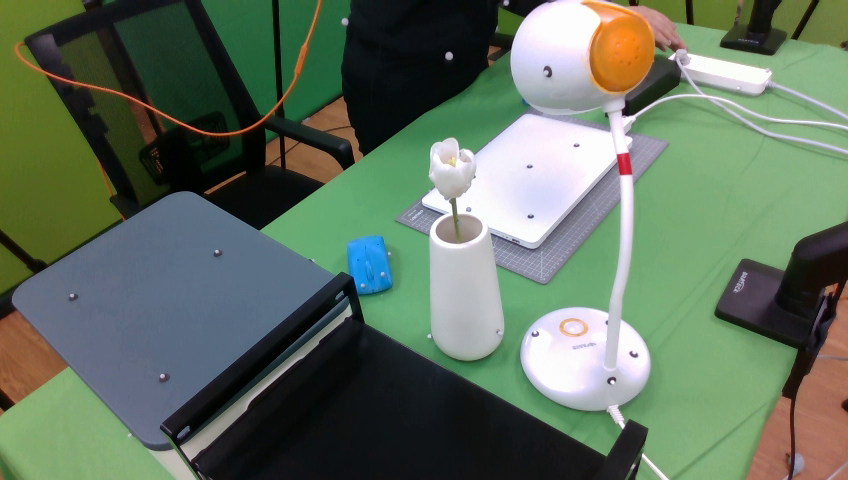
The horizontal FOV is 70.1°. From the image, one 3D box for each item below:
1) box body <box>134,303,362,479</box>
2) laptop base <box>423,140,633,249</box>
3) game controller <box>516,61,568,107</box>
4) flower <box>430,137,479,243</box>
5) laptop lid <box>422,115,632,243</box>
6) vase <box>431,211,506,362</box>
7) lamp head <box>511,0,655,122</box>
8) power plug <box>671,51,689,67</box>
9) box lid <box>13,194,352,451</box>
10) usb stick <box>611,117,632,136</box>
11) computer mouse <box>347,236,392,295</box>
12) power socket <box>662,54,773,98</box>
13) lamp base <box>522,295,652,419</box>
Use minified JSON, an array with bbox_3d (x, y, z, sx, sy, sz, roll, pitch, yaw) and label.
[{"bbox_3d":[-0.285,0.123,0.766,0.361,0.161,0.255,25,49,33],"label":"box body"},{"bbox_3d":[0.193,-0.117,1.087,0.233,0.023,0.355,21,48,34],"label":"laptop base"},{"bbox_3d":[0.260,-0.352,1.336,0.097,0.052,0.154,-3,41,2],"label":"game controller"},{"bbox_3d":[0.041,0.011,0.691,0.044,0.363,0.038,15,62,13],"label":"flower"},{"bbox_3d":[0.190,-0.126,1.081,0.239,0.013,0.358,23,49,34],"label":"laptop lid"},{"bbox_3d":[0.054,0.062,0.757,0.098,0.201,0.097,-3,40,3],"label":"vase"},{"bbox_3d":[0.155,-0.168,0.564,0.113,0.113,0.122,-18,23,-12],"label":"lamp head"},{"bbox_3d":[0.540,-0.379,1.302,0.073,0.053,0.035,-30,46,-22],"label":"power plug"},{"bbox_3d":[-0.291,0.067,0.717,0.368,0.015,0.264,25,50,33],"label":"box lid"},{"bbox_3d":[0.370,-0.208,1.147,0.021,0.027,0.059,28,55,31],"label":"usb stick"},{"bbox_3d":[-0.086,0.035,0.936,0.063,0.041,0.116,-8,44,-5],"label":"computer mouse"},{"bbox_3d":[0.620,-0.353,1.288,0.225,0.033,0.072,27,51,32],"label":"power socket"},{"bbox_3d":[0.201,0.095,0.710,0.161,0.181,0.177,-16,43,-10],"label":"lamp base"}]
